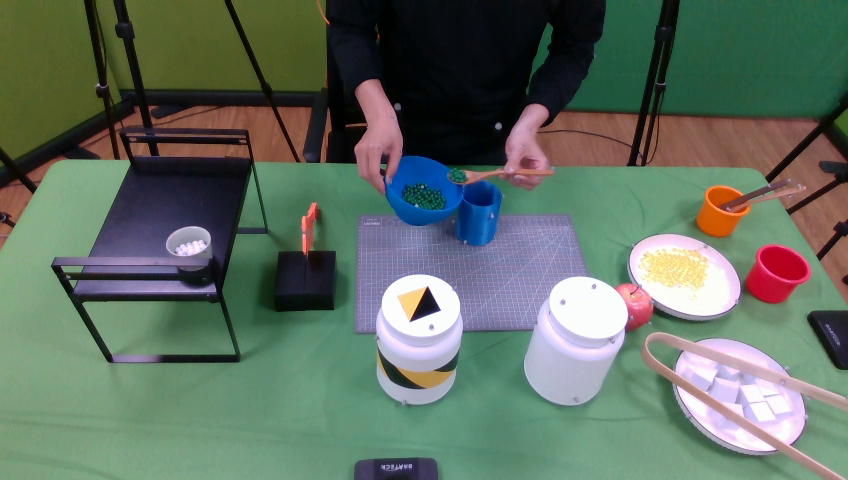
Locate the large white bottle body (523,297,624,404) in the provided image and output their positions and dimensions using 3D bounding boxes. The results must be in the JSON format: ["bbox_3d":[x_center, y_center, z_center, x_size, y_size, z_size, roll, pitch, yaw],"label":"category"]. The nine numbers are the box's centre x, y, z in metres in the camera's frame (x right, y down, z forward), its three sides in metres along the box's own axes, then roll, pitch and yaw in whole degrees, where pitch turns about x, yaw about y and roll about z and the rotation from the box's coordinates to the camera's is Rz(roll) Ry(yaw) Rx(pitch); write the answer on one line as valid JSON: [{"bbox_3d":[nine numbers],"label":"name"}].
[{"bbox_3d":[0.235,0.159,0.952,0.131,0.185,0.130,2,47,-2],"label":"large white bottle body"}]

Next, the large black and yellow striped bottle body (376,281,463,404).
[{"bbox_3d":[-0.010,0.155,0.937,0.131,0.185,0.130,2,47,-2],"label":"large black and yellow striped bottle body"}]

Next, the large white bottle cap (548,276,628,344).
[{"bbox_3d":[0.240,0.100,0.890,0.115,0.018,0.114,3,47,-3],"label":"large white bottle cap"}]

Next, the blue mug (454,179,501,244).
[{"bbox_3d":[0.106,-0.067,1.208,0.082,0.106,0.116,6,46,1],"label":"blue mug"}]

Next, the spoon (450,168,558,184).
[{"bbox_3d":[0.140,-0.119,1.081,0.193,0.022,0.041,-3,39,22],"label":"spoon"}]

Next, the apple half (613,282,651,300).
[{"bbox_3d":[0.356,0.109,1.086,0.081,0.075,0.053,-14,45,-12],"label":"apple half"}]

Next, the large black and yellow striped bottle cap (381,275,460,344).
[{"bbox_3d":[-0.005,0.098,0.875,0.115,0.019,0.114,2,45,-1],"label":"large black and yellow striped bottle cap"}]

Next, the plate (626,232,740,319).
[{"bbox_3d":[0.488,0.071,1.156,0.209,0.038,0.208,3,46,-3],"label":"plate"}]

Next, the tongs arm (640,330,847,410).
[{"bbox_3d":[0.543,0.225,0.969,0.384,0.026,0.050,22,52,13],"label":"tongs arm"}]

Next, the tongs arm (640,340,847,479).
[{"bbox_3d":[0.500,0.277,0.919,0.386,0.028,0.028,34,59,22],"label":"tongs arm"}]

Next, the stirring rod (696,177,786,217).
[{"bbox_3d":[0.648,-0.087,1.244,0.176,0.006,0.014,-25,50,29],"label":"stirring rod"}]

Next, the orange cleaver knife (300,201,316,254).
[{"bbox_3d":[-0.221,-0.027,1.161,0.012,0.077,0.210,-1,15,-4],"label":"orange cleaver knife"}]

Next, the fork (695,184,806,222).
[{"bbox_3d":[0.658,-0.074,1.230,0.207,0.019,0.028,-24,34,36],"label":"fork"}]

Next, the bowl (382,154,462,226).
[{"bbox_3d":[-0.013,-0.080,1.114,0.152,0.077,0.150,12,44,-12],"label":"bowl"}]

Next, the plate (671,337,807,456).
[{"bbox_3d":[0.504,0.254,0.984,0.208,0.039,0.206,2,46,-2],"label":"plate"}]

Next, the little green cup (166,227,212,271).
[{"bbox_3d":[-0.344,0.014,0.895,0.061,0.039,0.061,3,46,-3],"label":"little green cup"}]

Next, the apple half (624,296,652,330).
[{"bbox_3d":[0.368,0.135,1.060,0.081,0.081,0.032,-11,43,-15],"label":"apple half"}]
